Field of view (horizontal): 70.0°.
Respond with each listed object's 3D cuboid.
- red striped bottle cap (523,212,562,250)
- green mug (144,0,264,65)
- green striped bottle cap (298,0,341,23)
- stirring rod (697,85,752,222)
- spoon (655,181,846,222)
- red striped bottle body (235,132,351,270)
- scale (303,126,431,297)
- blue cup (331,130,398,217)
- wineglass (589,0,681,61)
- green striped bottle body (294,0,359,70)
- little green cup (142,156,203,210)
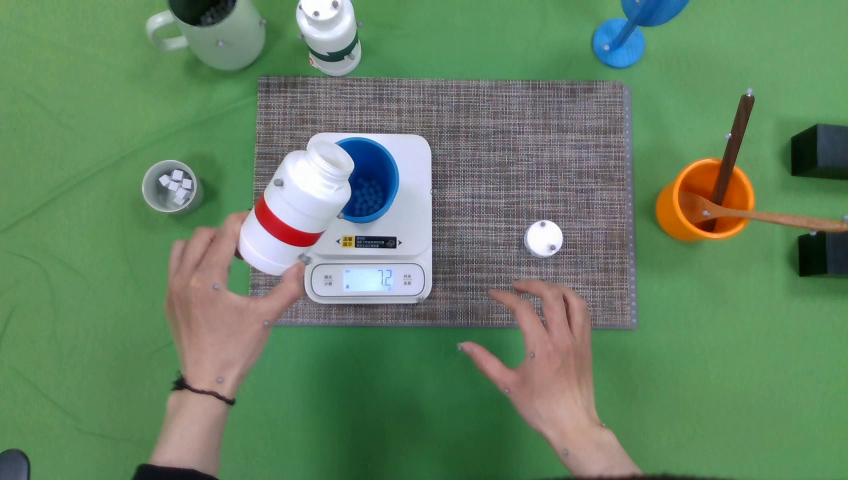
[{"bbox_3d":[0.141,-0.010,0.720,0.044,0.018,0.044,0,83,-1],"label":"red striped bottle cap"},{"bbox_3d":[-0.256,-0.255,0.696,0.125,0.105,0.092,-22,84,-3],"label":"green mug"},{"bbox_3d":[-0.111,-0.254,0.640,0.044,0.020,0.044,0,82,-2],"label":"green striped bottle cap"},{"bbox_3d":[0.331,-0.089,0.671,0.014,0.178,0.006,7,42,13],"label":"stirring rod"},{"bbox_3d":[0.349,-0.037,0.666,0.022,0.192,0.041,14,90,-43],"label":"spoon"},{"bbox_3d":[-0.108,-0.034,0.516,0.063,0.063,0.120,42,119,4],"label":"red striped bottle body"},{"bbox_3d":[-0.067,-0.034,0.709,0.149,0.031,0.200,0,84,-1],"label":"scale"},{"bbox_3d":[-0.070,-0.063,0.647,0.093,0.100,0.092,0,85,-3],"label":"blue cup"},{"bbox_3d":[0.241,-0.267,0.676,0.074,0.172,0.073,0,83,-1],"label":"wineglass"},{"bbox_3d":[-0.111,-0.247,0.692,0.063,0.119,0.063,0,83,-1],"label":"green striped bottle body"},{"bbox_3d":[-0.290,-0.064,0.706,0.061,0.038,0.061,0,83,-3],"label":"little green cup"}]
